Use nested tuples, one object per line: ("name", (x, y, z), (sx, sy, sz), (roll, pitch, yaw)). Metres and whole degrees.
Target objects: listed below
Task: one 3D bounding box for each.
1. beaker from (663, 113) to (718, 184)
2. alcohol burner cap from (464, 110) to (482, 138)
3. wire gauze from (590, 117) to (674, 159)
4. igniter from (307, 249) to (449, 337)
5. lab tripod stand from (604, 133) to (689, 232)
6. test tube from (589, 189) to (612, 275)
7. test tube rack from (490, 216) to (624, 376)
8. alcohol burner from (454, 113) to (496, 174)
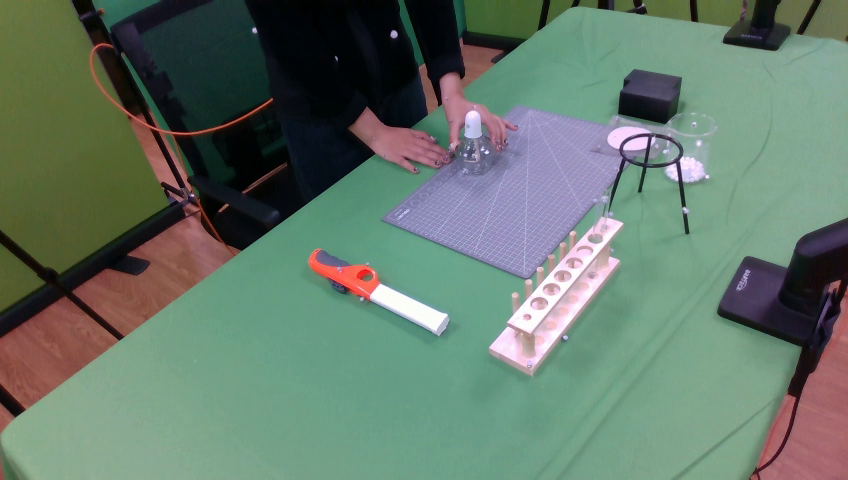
("beaker", (0.442, -0.151, 1.018), (0.084, 0.101, 0.074), (-1, 40, 11))
("alcohol burner cap", (0.087, -0.209, 1.080), (0.034, 0.048, 0.033), (-2, 36, 2))
("wire gauze", (0.393, -0.192, 1.139), (0.120, 0.011, 0.125), (19, 47, 28))
("igniter", (-0.079, 0.073, 0.905), (0.274, 0.025, 0.057), (24, 61, 32))
("lab tripod stand", (0.347, -0.086, 0.933), (0.148, 0.132, 0.147), (-4, 40, 4))
("test tube", (0.238, -0.007, 0.818), (0.017, 0.151, 0.017), (-3, 43, 4))
("test tube rack", (0.184, 0.064, 0.822), (0.066, 0.085, 0.243), (24, 50, 33))
("alcohol burner", (0.092, -0.181, 1.102), (0.078, 0.119, 0.077), (-5, 42, 5))
